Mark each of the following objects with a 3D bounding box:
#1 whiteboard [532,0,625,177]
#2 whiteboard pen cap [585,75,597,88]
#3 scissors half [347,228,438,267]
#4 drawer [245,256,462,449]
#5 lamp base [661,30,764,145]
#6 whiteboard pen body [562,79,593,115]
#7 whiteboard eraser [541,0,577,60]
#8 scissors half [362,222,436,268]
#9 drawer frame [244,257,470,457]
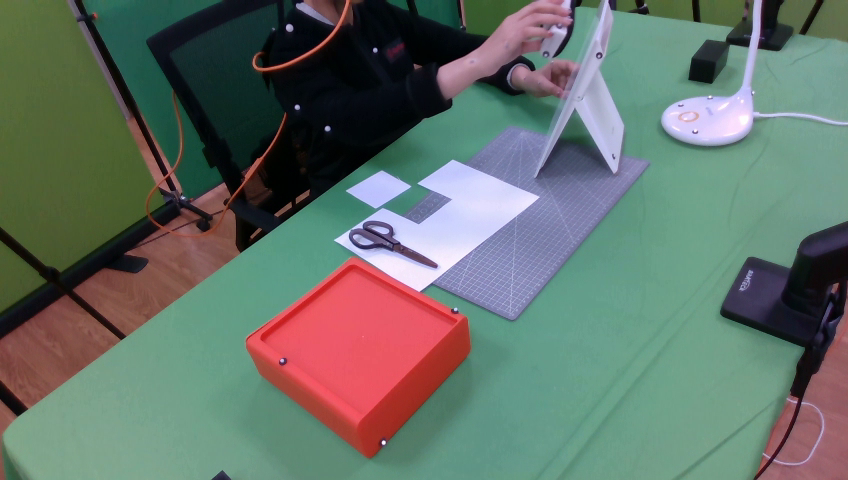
[{"bbox_3d":[0.320,-0.258,1.050,0.144,0.306,0.217,21,45,5],"label":"whiteboard"},{"bbox_3d":[0.362,-0.343,1.310,0.018,0.018,0.033,19,54,29],"label":"whiteboard pen cap"},{"bbox_3d":[-0.054,0.015,0.974,0.174,0.013,0.040,19,36,24],"label":"scissors half"},{"bbox_3d":[-0.089,0.136,0.792,0.210,0.073,0.195,27,51,34],"label":"drawer"},{"bbox_3d":[0.535,-0.287,1.096,0.179,0.181,0.159,-10,40,-4],"label":"lamp base"},{"bbox_3d":[0.328,-0.306,1.278,0.017,0.017,0.141,20,51,30],"label":"whiteboard pen body"},{"bbox_3d":[0.220,-0.345,0.976,0.042,0.055,0.112,23,55,-11],"label":"whiteboard eraser"},{"bbox_3d":[-0.040,0.008,0.989,0.040,0.013,0.173,-18,37,-37],"label":"scissors half"},{"bbox_3d":[-0.084,0.138,0.788,0.212,0.083,0.202,25,50,33],"label":"drawer frame"}]
